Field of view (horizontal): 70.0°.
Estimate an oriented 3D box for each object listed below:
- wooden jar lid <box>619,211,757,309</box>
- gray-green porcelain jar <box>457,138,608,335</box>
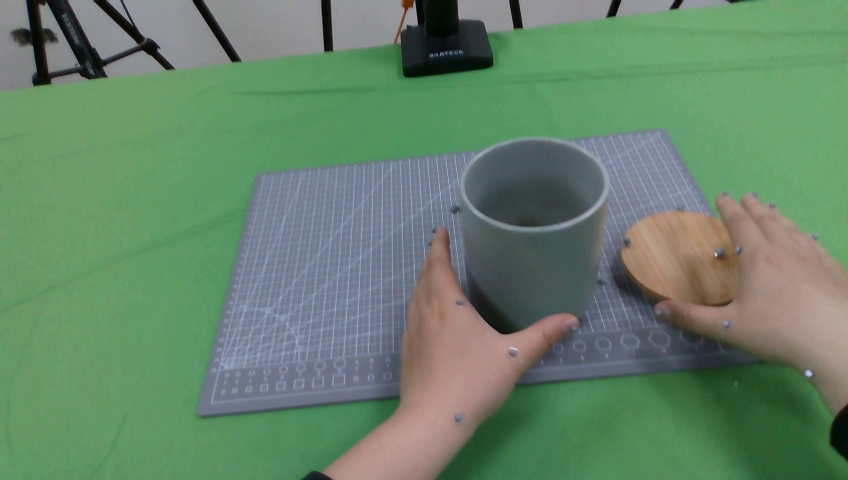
[{"bbox_3d":[0.220,0.018,0.511,0.108,0.021,0.107,-4,43,4],"label":"wooden jar lid"},{"bbox_3d":[0.082,0.003,0.468,0.106,0.128,0.105,-4,45,4],"label":"gray-green porcelain jar"}]
